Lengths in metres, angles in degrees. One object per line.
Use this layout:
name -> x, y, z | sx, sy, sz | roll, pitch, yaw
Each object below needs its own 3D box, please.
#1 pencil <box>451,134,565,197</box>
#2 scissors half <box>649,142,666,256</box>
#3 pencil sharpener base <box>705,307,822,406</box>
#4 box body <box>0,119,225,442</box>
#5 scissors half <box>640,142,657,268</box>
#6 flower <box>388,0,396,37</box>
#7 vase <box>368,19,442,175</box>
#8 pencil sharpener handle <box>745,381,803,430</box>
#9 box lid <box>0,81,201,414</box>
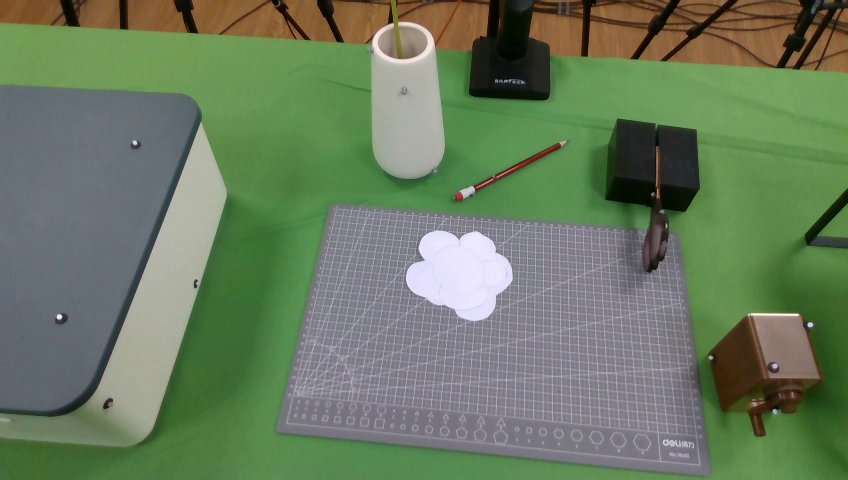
pencil -> 0.119, -0.104, 0.825 | 0.194, 0.012, 0.012 | -29, 62, -18
scissors half -> 0.281, -0.056, 0.735 | 0.013, 0.040, 0.174 | 7, 54, 7
pencil sharpener base -> 0.345, 0.126, 0.625 | 0.061, 0.108, 0.076 | 1, 59, 1
box body -> -0.389, 0.022, 0.658 | 0.254, 0.162, 0.361 | 3, 58, 2
scissors half -> 0.281, -0.046, 0.753 | 0.013, 0.040, 0.174 | 10, 71, 2
flower -> -0.033, -0.228, 0.692 | 0.044, 0.365, 0.038 | -2, 41, 3
vase -> -0.026, -0.172, 0.755 | 0.098, 0.202, 0.097 | -1, 57, 1
pencil sharpener handle -> 0.340, 0.162, 0.587 | 0.036, 0.068, 0.030 | 8, 58, -12
box lid -> -0.390, -0.020, 0.595 | 0.263, 0.015, 0.368 | 4, 58, 2
